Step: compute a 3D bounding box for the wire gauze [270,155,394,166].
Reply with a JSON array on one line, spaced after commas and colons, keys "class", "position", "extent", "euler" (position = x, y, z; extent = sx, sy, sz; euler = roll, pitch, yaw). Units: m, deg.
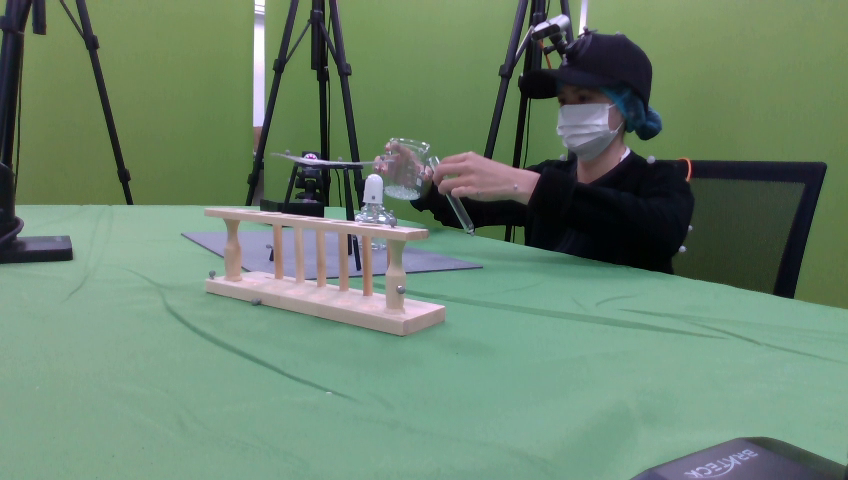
[{"class": "wire gauze", "position": [-0.121, -0.102, 0.785], "extent": [0.122, 0.011, 0.124], "euler": [-3, 10, -38]}]

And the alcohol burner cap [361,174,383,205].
[{"class": "alcohol burner cap", "position": [-0.080, -0.078, 0.944], "extent": [0.034, 0.048, 0.034], "euler": [5, 8, 0]}]

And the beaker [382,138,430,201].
[{"class": "beaker", "position": [-0.032, -0.125, 1.078], "extent": [0.074, 0.100, 0.083], "euler": [-7, 24, -43]}]

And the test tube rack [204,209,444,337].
[{"class": "test tube rack", "position": [-0.100, 0.021, 0.565], "extent": [0.241, 0.085, 0.067], "euler": [7, 9, 32]}]

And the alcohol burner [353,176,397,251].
[{"class": "alcohol burner", "position": [-0.082, -0.043, 0.950], "extent": [0.078, 0.119, 0.078], "euler": [1, 8, 0]}]

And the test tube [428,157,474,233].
[{"class": "test tube", "position": [0.041, -0.071, 0.935], "extent": [0.017, 0.017, 0.149], "euler": [-3, 54, -36]}]

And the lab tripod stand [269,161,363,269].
[{"class": "lab tripod stand", "position": [-0.125, -0.036, 0.794], "extent": [0.148, 0.131, 0.148], "euler": [5, 7, 0]}]
